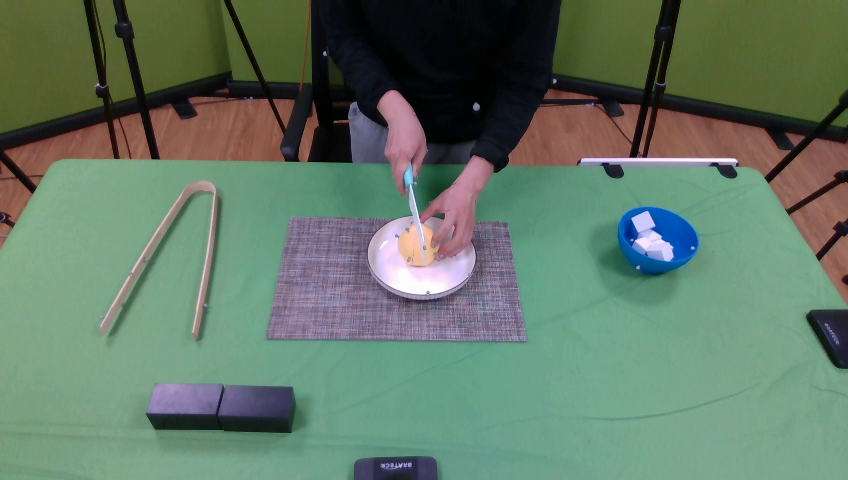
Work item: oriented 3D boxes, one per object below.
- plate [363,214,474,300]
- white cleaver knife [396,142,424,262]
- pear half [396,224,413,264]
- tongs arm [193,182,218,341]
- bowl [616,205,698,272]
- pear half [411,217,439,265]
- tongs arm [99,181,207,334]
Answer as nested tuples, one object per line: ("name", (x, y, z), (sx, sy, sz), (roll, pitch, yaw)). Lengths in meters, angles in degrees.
("plate", (-0.010, 0.036, 1.147), (0.208, 0.039, 0.206), (2, 46, -2))
("white cleaver knife", (-0.026, -0.076, 1.100), (0.021, 0.066, 0.284), (-5, 47, -6))
("pear half", (-0.036, 0.005, 1.125), (0.031, 0.088, 0.070), (-6, 48, -8))
("tongs arm", (-0.413, 0.025, 1.140), (0.028, 0.028, 0.385), (-5, 47, -7))
("bowl", (0.443, 0.010, 1.182), (0.151, 0.077, 0.150), (2, 46, -2))
("pear half", (0.000, -0.004, 1.122), (0.056, 0.110, 0.076), (-6, 50, -5))
("tongs arm", (-0.493, 0.018, 1.132), (0.051, 0.026, 0.382), (7, 45, 0))
